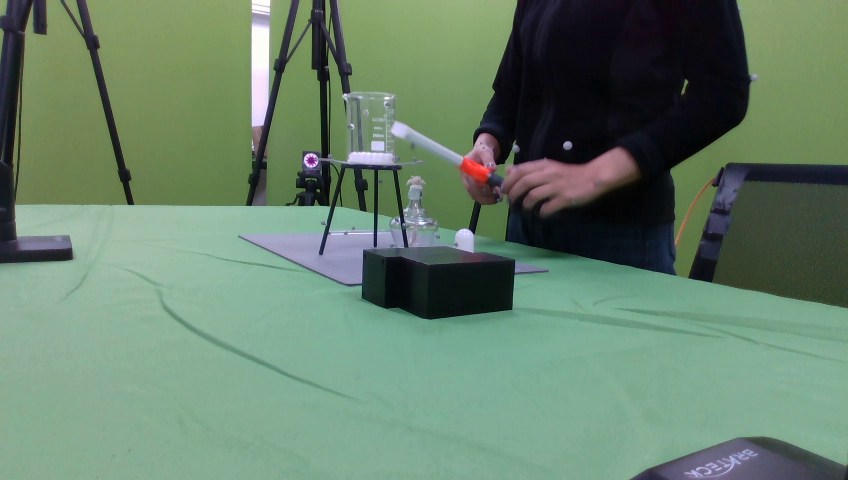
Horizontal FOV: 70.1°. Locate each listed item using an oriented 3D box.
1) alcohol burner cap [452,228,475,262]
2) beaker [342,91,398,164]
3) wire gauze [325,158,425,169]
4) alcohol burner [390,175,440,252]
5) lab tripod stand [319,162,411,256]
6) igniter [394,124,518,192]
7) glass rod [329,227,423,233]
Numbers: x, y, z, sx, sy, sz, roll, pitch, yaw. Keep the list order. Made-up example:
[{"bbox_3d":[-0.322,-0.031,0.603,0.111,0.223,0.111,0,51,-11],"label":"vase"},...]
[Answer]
[{"bbox_3d":[0.058,0.006,0.872,0.034,0.048,0.034,3,7,0],"label":"alcohol burner cap"},{"bbox_3d":[-0.079,-0.160,0.867,0.084,0.100,0.073,-5,10,-34],"label":"beaker"},{"bbox_3d":[-0.080,-0.112,0.869,0.122,0.011,0.124,-6,12,-35],"label":"wire gauze"},{"bbox_3d":[-0.014,-0.041,0.932,0.078,0.119,0.078,1,9,0],"label":"alcohol burner"},{"bbox_3d":[-0.081,-0.047,0.879,0.148,0.131,0.148,2,9,0],"label":"lab tripod stand"},{"bbox_3d":[0.060,-0.121,0.940,0.278,0.025,0.057,18,10,-46],"label":"igniter"},{"bbox_3d":[-0.087,-0.019,1.148,0.201,0.008,0.008,-3,8,-32],"label":"glass rod"}]
